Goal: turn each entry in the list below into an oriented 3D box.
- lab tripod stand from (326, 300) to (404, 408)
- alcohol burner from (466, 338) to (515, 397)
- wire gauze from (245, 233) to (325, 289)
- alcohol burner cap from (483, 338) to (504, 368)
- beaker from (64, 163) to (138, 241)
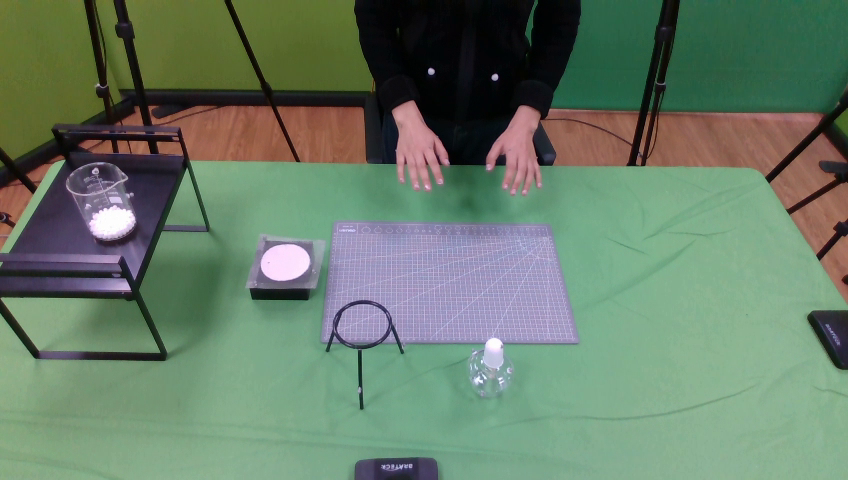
[{"bbox_3d":[-0.099,0.167,0.950,0.148,0.132,0.147,1,47,-1],"label":"lab tripod stand"},{"bbox_3d":[0.106,0.194,0.952,0.078,0.120,0.077,1,45,0],"label":"alcohol burner"},{"bbox_3d":[-0.245,0.038,1.082,0.121,0.011,0.124,5,47,-3],"label":"wire gauze"},{"bbox_3d":[0.108,0.170,0.928,0.034,0.048,0.033,-1,41,1],"label":"alcohol burner cap"},{"bbox_3d":[-0.478,-0.055,0.910,0.084,0.101,0.073,-9,48,-13],"label":"beaker"}]
